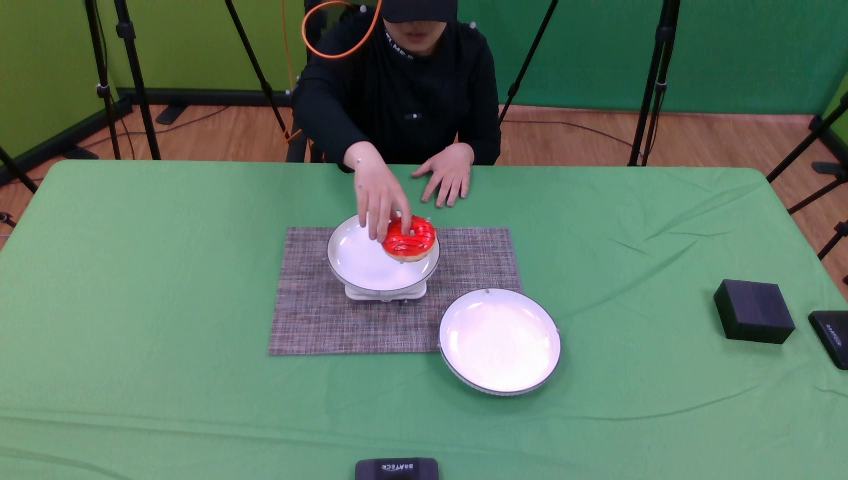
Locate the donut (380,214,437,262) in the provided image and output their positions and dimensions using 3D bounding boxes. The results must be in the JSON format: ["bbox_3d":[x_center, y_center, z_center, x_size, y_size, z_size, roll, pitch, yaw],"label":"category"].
[{"bbox_3d":[-0.027,-0.005,1.033,0.099,0.048,0.098,-3,44,3],"label":"donut"}]

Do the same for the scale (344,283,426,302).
[{"bbox_3d":[-0.075,0.033,1.149,0.149,0.032,0.199,0,45,-5],"label":"scale"}]

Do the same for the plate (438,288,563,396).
[{"bbox_3d":[0.127,0.173,1.025,0.209,0.038,0.208,3,48,-3],"label":"plate"}]

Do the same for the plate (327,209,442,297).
[{"bbox_3d":[-0.071,0.027,1.109,0.208,0.039,0.206,2,46,-1],"label":"plate"}]
